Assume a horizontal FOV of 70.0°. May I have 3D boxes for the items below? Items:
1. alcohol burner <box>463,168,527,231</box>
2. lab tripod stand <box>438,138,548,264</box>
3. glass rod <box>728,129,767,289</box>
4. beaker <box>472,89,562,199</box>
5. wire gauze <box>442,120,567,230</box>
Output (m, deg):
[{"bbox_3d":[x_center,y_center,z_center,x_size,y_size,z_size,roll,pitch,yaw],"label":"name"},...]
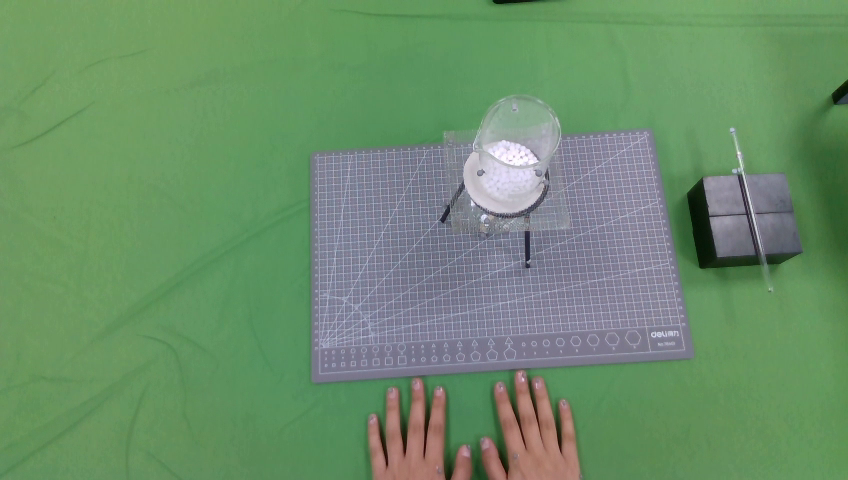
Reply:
[{"bbox_3d":[0.085,-0.054,0.713,0.078,0.119,0.077,0,75,1],"label":"alcohol burner"},{"bbox_3d":[0.089,-0.053,0.702,0.148,0.132,0.147,-1,71,2],"label":"lab tripod stand"},{"bbox_3d":[0.378,-0.039,0.710,0.008,0.008,0.198,-3,74,0],"label":"glass rod"},{"bbox_3d":[0.084,-0.087,0.593,0.084,0.101,0.073,-20,73,-4],"label":"beaker"},{"bbox_3d":[0.084,-0.068,0.638,0.125,0.011,0.120,-2,74,-2],"label":"wire gauze"}]
